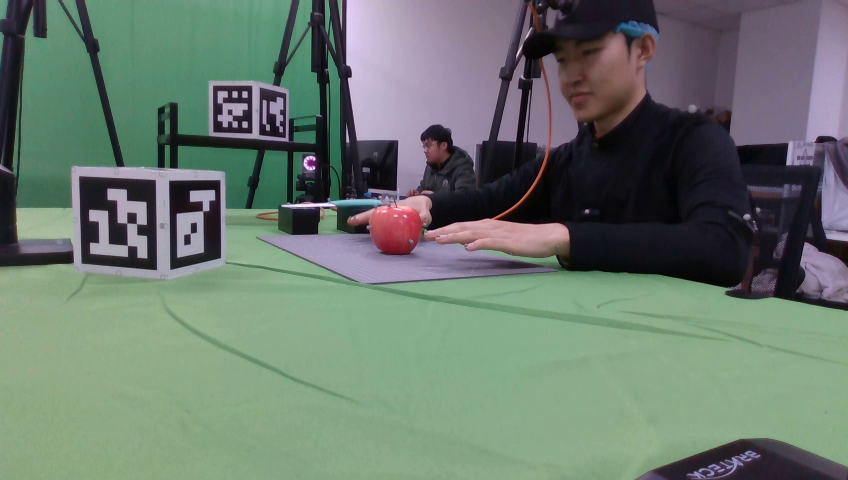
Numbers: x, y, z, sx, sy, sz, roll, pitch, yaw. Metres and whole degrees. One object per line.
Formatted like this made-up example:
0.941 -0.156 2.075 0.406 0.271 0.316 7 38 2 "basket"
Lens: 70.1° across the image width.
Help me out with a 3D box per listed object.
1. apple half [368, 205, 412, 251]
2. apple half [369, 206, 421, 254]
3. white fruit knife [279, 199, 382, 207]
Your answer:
-0.059 -0.020 0.951 0.082 0.081 0.032 -2 13 -32 "apple half"
-0.038 -0.014 0.919 0.081 0.074 0.053 3 11 -32 "apple half"
-0.182 -0.072 1.188 0.208 0.016 0.027 -3 17 -31 "white fruit knife"
